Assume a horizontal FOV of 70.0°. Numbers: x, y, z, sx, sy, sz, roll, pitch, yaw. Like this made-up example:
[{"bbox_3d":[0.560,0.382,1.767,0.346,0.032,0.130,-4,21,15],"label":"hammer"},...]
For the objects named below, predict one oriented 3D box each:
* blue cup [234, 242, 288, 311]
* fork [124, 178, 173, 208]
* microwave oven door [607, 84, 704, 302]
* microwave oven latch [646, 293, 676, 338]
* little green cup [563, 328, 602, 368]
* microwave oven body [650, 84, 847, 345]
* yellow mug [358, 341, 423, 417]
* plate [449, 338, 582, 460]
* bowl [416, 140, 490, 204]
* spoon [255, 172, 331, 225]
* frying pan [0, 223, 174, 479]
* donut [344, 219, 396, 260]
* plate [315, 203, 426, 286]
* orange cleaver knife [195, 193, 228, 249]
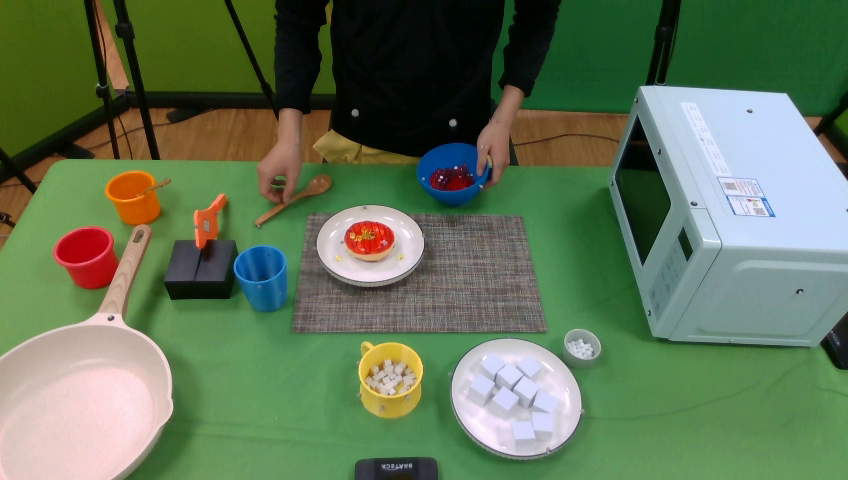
[{"bbox_3d":[-0.276,0.072,1.052,0.093,0.101,0.092,1,48,-1],"label":"blue cup"},{"bbox_3d":[-0.525,-0.090,1.153,0.207,0.019,0.028,-18,27,45],"label":"fork"},{"bbox_3d":[0.424,-0.096,1.138,0.039,0.245,0.353,3,46,-1],"label":"microwave oven door"},{"bbox_3d":[0.412,0.133,1.060,0.030,0.029,0.078,3,46,0],"label":"microwave oven latch"},{"bbox_3d":[0.265,0.184,1.025,0.061,0.039,0.061,1,46,-1],"label":"little green cup"},{"bbox_3d":[0.569,-0.054,1.116,0.326,0.261,0.439,2,46,-1],"label":"microwave oven body"},{"bbox_3d":[-0.062,0.210,0.961,0.100,0.064,0.130,-29,54,-27],"label":"yellow mug"},{"bbox_3d":[0.141,0.251,0.955,0.208,0.039,0.206,2,46,-2],"label":"plate"},{"bbox_3d":[0.066,-0.129,1.262,0.151,0.077,0.150,-5,49,6],"label":"bowl"},{"bbox_3d":[-0.271,-0.087,1.255,0.193,0.022,0.041,-36,75,-31],"label":"spoon"},{"bbox_3d":[-0.505,0.169,0.941,0.307,0.103,0.485,5,54,-1],"label":"frying pan"},{"bbox_3d":[-0.103,-0.002,1.157,0.099,0.048,0.098,3,43,-2],"label":"donut"},{"bbox_3d":[-0.101,0.012,1.159,0.209,0.038,0.208,2,46,-2],"label":"plate"},{"bbox_3d":[-0.406,-0.041,1.163,0.012,0.077,0.210,0,18,-3],"label":"orange cleaver knife"}]
